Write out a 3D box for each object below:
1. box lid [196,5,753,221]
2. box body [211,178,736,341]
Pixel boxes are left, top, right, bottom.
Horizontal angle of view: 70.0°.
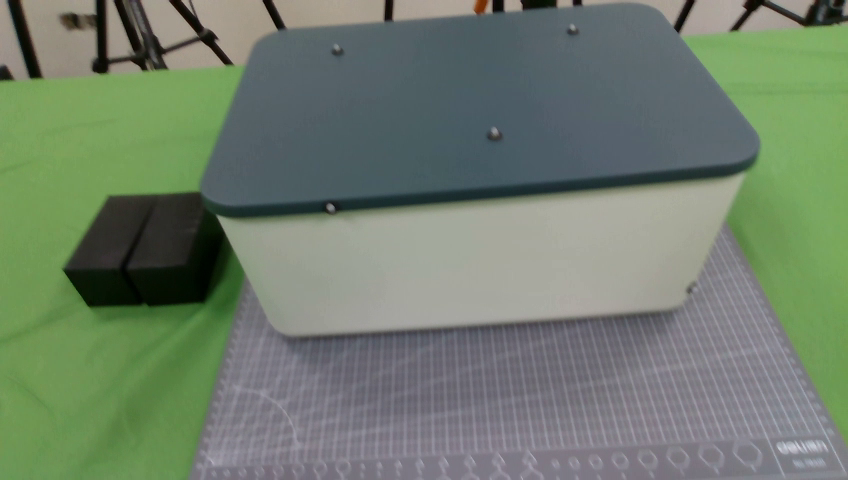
[{"bbox_3d":[0.026,-0.114,0.474,0.371,0.015,0.260,-4,43,1],"label":"box lid"},{"bbox_3d":[0.034,-0.060,0.526,0.364,0.162,0.251,-4,44,1],"label":"box body"}]
